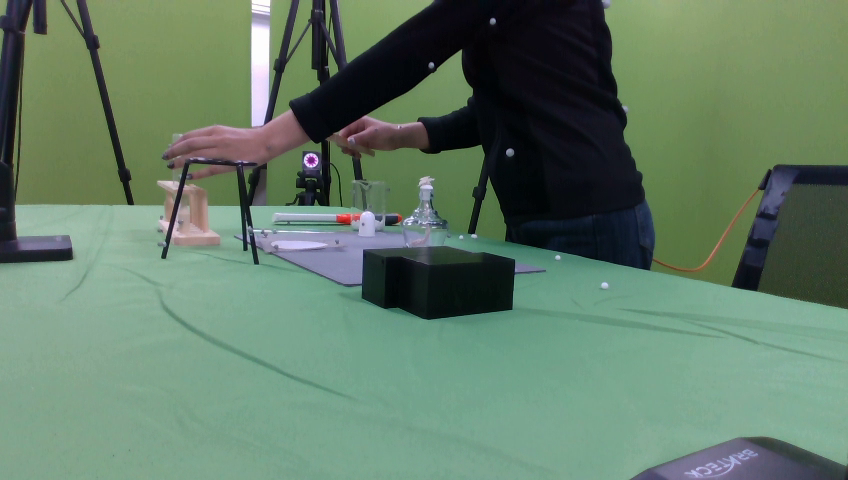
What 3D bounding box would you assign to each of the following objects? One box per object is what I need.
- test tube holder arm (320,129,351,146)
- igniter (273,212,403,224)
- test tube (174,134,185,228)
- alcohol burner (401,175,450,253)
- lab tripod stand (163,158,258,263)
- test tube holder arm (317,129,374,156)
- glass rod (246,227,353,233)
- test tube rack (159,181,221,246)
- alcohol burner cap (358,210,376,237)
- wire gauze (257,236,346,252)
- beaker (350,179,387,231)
[{"bbox_3d":[-0.169,-0.197,1.168,0.010,0.015,0.088,8,-1,28],"label":"test tube holder arm"},{"bbox_3d":[-0.179,-0.048,1.290,0.278,0.025,0.057,-1,-2,-25],"label":"igniter"},{"bbox_3d":[-0.390,-0.094,0.964,0.017,0.150,0.017,0,2,0],"label":"test tube"},{"bbox_3d":[0.003,-0.040,0.933,0.078,0.119,0.078,2,9,0],"label":"alcohol burner"},{"bbox_3d":[-0.265,-0.041,0.802,0.148,0.131,0.148,4,6,0],"label":"lab tripod stand"},{"bbox_3d":[-0.153,-0.194,1.210,0.013,0.015,0.179,8,-1,28],"label":"test tube holder arm"},{"bbox_3d":[-0.224,-0.017,1.109,0.201,0.008,0.008,1,7,-27],"label":"glass rod"},{"bbox_3d":[-0.395,-0.050,1.010,0.067,0.085,0.241,-2,9,-28],"label":"test tube rack"},{"bbox_3d":[-0.104,-0.030,1.098,0.034,0.048,0.034,3,8,0],"label":"alcohol burner cap"},{"bbox_3d":[-0.189,0.005,0.931,0.122,0.011,0.124,1,7,-21],"label":"wire gauze"},{"bbox_3d":[-0.111,-0.069,1.205,0.074,0.100,0.084,2,8,0],"label":"beaker"}]
